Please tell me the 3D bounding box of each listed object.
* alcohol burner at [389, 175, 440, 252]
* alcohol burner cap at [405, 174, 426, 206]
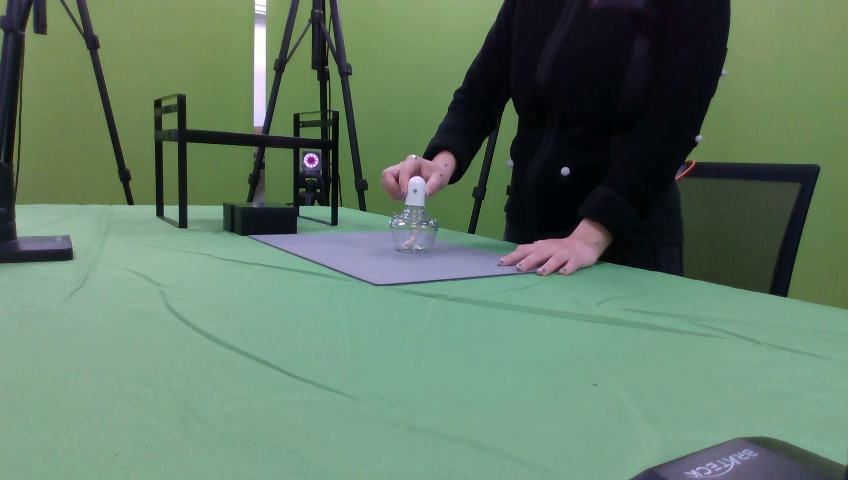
[{"bbox_3d":[-0.013,-0.041,0.930,0.078,0.119,0.078,4,8,0],"label":"alcohol burner"},{"bbox_3d":[-0.012,-0.076,0.925,0.034,0.048,0.034,3,4,0],"label":"alcohol burner cap"}]
